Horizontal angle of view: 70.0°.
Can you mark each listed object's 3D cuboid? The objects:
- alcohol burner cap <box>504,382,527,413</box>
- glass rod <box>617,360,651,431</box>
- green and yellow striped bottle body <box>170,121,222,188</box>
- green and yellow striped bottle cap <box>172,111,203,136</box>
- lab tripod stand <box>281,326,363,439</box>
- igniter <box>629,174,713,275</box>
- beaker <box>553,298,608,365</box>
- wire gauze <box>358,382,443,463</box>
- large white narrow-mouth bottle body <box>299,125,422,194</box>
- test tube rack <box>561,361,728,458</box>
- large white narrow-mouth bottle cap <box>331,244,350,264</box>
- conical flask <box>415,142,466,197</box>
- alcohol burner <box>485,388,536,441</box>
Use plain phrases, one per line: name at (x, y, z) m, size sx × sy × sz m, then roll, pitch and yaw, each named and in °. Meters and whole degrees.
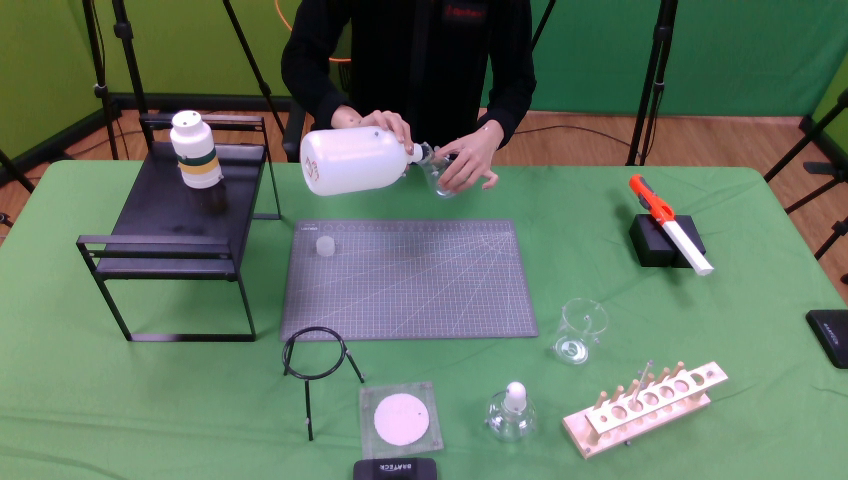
alcohol burner cap at (0.133, 0.225, 0.877) m, size 0.034 × 0.048 × 0.033 m, roll -4°, pitch 47°, yaw 5°
glass rod at (0.297, 0.227, 0.865) m, size 0.008 × 0.201 × 0.008 m, roll -1°, pitch 48°, yaw 2°
green and yellow striped bottle body at (-0.375, -0.149, 0.995) m, size 0.063 × 0.120 × 0.063 m, roll 2°, pitch 46°, yaw -2°
green and yellow striped bottle cap at (-0.374, -0.185, 0.957) m, size 0.045 × 0.020 × 0.045 m, roll 3°, pitch 45°, yaw -3°
lab tripod stand at (-0.166, 0.203, 0.913) m, size 0.148 × 0.132 × 0.147 m, roll 1°, pitch 47°, yaw -1°
igniter at (0.481, -0.040, 1.202) m, size 0.057 × 0.025 × 0.274 m, roll -2°, pitch 46°, yaw -21°
beaker at (0.260, 0.154, 1.015) m, size 0.073 × 0.101 × 0.084 m, roll 37°, pitch 54°, yaw 27°
wire gauze at (-0.039, 0.276, 0.937) m, size 0.121 × 0.011 × 0.124 m, roll -4°, pitch 47°, yaw -7°
large white narrow-mouth bottle body at (-0.094, -0.133, 0.976) m, size 0.195 × 0.102 × 0.101 m, roll -9°, pitch 47°, yaw -26°
test tube rack at (0.341, 0.248, 0.940) m, size 0.243 × 0.085 × 0.066 m, roll -15°, pitch 49°, yaw -18°
large white narrow-mouth bottle cap at (-0.160, 0.026, 1.161) m, size 0.038 × 0.024 × 0.037 m, roll 4°, pitch 46°, yaw -4°
conical flask at (0.020, -0.130, 1.077) m, size 0.075 × 0.122 × 0.075 m, roll -9°, pitch 68°, yaw 24°
alcohol burner at (0.131, 0.249, 0.904) m, size 0.078 × 0.120 × 0.077 m, roll 1°, pitch 48°, yaw -1°
